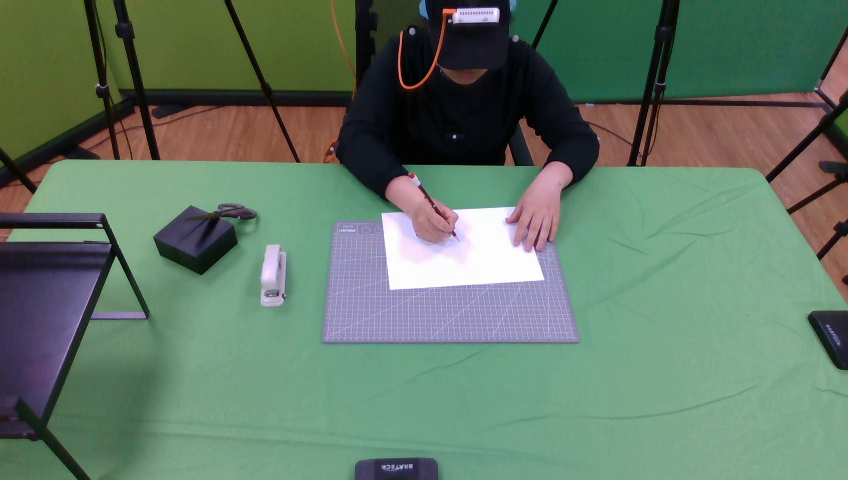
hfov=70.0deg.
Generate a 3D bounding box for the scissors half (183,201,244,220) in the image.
[{"bbox_3d":[-0.405,-0.054,1.163,0.040,0.013,0.175,30,18,7],"label":"scissors half"}]

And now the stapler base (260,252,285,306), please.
[{"bbox_3d":[-0.279,0.064,1.113,0.041,0.024,0.129,-2,44,-9],"label":"stapler base"}]

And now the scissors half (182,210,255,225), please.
[{"bbox_3d":[-0.389,-0.042,1.158,0.040,0.013,0.175,42,21,21],"label":"scissors half"}]

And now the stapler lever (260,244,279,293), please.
[{"bbox_3d":[-0.278,0.045,1.096,0.027,0.040,0.117,-2,44,-9],"label":"stapler lever"}]

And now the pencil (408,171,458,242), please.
[{"bbox_3d":[0.021,-0.059,1.147,0.012,0.195,0.012,-21,40,19],"label":"pencil"}]
